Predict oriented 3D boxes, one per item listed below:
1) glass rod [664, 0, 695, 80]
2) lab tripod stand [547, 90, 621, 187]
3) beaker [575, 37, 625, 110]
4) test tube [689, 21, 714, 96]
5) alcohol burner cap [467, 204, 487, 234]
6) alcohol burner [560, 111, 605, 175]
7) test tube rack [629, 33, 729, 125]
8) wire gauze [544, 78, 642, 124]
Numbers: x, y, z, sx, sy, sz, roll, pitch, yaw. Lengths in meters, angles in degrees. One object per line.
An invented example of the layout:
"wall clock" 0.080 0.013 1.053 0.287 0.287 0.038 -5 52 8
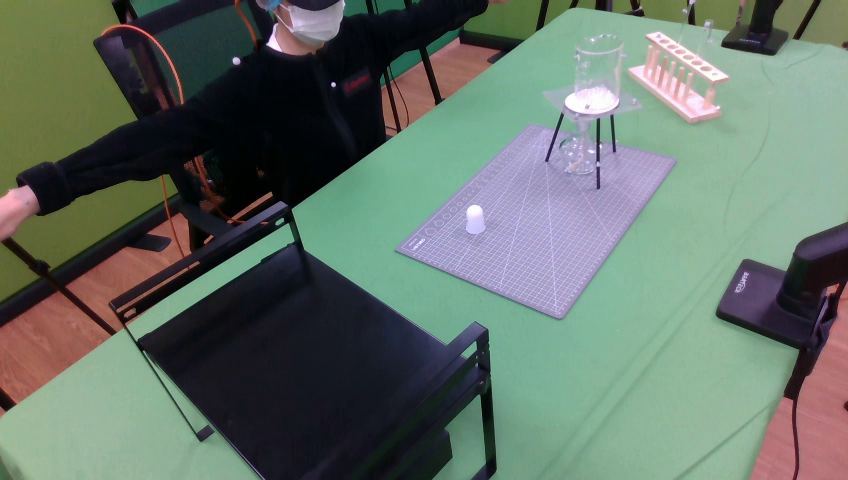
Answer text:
"glass rod" 0.523 -0.415 1.235 0.008 0.200 0.008 1 47 0
"lab tripod stand" 0.289 -0.184 1.062 0.148 0.132 0.147 -6 41 6
"beaker" 0.283 -0.271 0.988 0.074 0.101 0.083 -10 39 1
"test tube" 0.541 -0.353 1.184 0.017 0.151 0.017 -2 40 2
"alcohol burner cap" 0.085 -0.037 0.993 0.034 0.048 0.033 -4 41 4
"alcohol burner" 0.281 -0.176 1.070 0.078 0.119 0.077 -4 43 5
"test tube rack" 0.516 -0.337 1.247 0.067 0.085 0.240 -14 41 -7
"wire gauze" 0.282 -0.234 1.021 0.125 0.011 0.120 -17 38 -4
